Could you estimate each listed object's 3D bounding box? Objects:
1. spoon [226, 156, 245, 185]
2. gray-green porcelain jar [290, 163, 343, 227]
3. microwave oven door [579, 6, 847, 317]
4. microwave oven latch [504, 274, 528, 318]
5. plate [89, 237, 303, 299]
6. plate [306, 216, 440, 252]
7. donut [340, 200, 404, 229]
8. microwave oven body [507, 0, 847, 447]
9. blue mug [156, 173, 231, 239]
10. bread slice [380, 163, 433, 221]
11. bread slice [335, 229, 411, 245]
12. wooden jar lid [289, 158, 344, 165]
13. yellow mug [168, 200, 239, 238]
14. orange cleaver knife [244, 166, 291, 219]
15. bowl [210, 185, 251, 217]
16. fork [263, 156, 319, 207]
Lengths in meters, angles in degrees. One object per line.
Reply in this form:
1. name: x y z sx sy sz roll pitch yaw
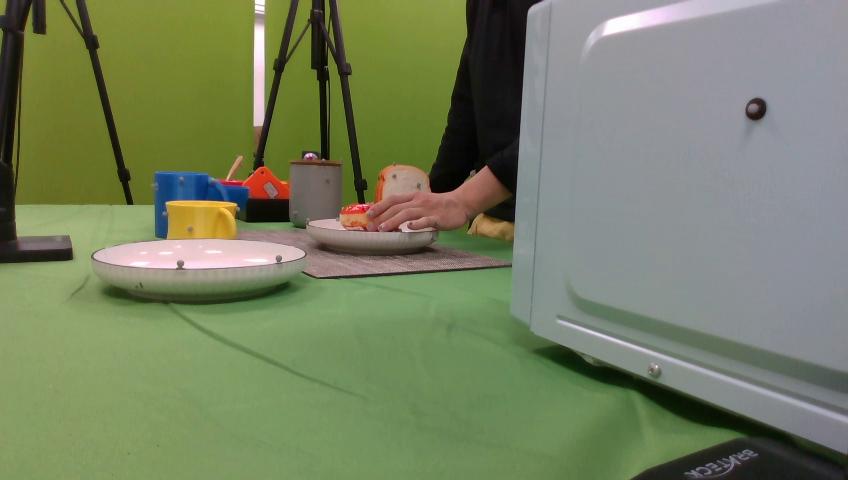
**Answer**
1. spoon: -0.477 -0.145 1.492 0.041 0.022 0.193 -1 51 13
2. gray-green porcelain jar: -0.217 -0.091 1.221 0.106 0.126 0.106 2 7 0
3. microwave oven door: 0.294 -0.067 0.570 0.358 0.243 0.039 -3 9 -31
4. microwave oven latch: 0.100 0.041 0.471 0.079 0.029 0.030 -1 8 -28
5. plate: -0.233 0.029 0.637 0.208 0.039 0.207 2 7 0
6. plate: -0.079 -0.011 0.950 0.209 0.038 0.209 2 8 0
7. donut: -0.081 -0.038 0.945 0.099 0.048 0.099 3 1 0
8. microwave oven body: 0.331 -0.042 0.425 0.444 0.260 0.324 -2 8 -31
9. blue mug: -0.381 -0.057 1.004 0.117 0.106 0.082 1 8 -12
10. bread slice: -0.035 -0.076 1.124 0.107 0.134 0.018 -3 1 -25
11. bread slice: -0.075 -0.005 0.938 0.105 0.019 0.131 -2 4 -19
12. wooden jar lid: -0.215 -0.153 1.212 0.108 0.020 0.108 2 5 0
13. yellow mug: -0.320 -0.023 0.904 0.130 0.064 0.100 9 11 36
14. orange cleaver knife: -0.301 -0.089 1.351 0.212 0.077 0.012 32 -11 -34
15. bowl: -0.408 -0.064 1.155 0.151 0.077 0.151 2 8 0
16. fork: -0.331 -0.144 1.505 0.207 0.018 0.028 -42 -21 22
